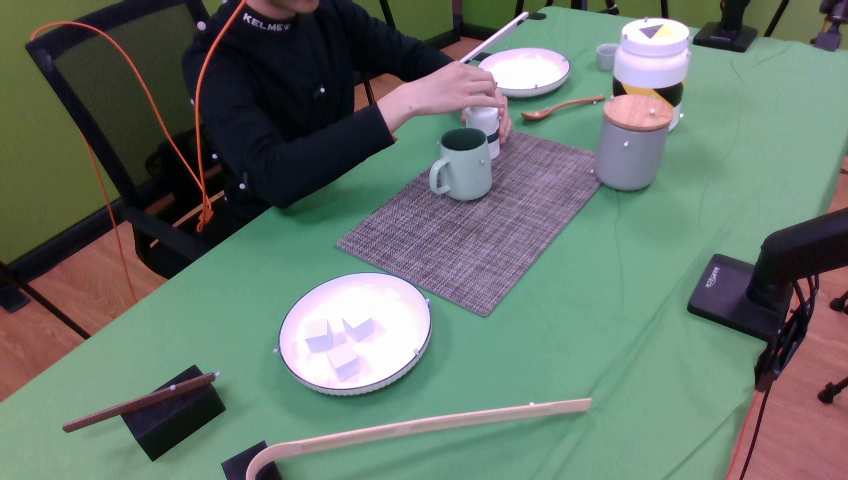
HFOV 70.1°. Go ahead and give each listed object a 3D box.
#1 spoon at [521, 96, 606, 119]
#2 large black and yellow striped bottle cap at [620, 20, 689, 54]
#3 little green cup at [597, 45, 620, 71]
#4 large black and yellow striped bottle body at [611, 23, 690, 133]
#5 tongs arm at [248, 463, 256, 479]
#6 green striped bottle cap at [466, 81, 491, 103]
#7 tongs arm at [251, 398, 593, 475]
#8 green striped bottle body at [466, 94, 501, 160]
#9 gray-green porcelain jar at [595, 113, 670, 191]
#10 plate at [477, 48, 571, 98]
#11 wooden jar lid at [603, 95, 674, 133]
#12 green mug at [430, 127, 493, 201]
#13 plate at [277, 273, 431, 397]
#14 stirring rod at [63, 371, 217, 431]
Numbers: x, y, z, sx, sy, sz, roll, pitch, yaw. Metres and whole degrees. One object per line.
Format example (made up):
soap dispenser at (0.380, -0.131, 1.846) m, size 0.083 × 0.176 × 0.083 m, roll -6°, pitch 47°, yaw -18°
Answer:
spoon at (0.291, -0.277, 1.249) m, size 0.194 × 0.022 × 0.041 m, roll -18°, pitch 23°, yaw -11°
large black and yellow striped bottle cap at (0.411, -0.363, 1.080) m, size 0.115 × 0.019 × 0.114 m, roll -3°, pitch 42°, yaw 4°
little green cup at (0.423, -0.413, 1.376) m, size 0.061 × 0.039 × 0.061 m, roll -4°, pitch 41°, yaw 4°
large black and yellow striped bottle body at (0.420, -0.299, 1.132) m, size 0.131 × 0.185 × 0.130 m, roll -5°, pitch 40°, yaw 4°
tongs arm at (0.012, 0.262, 0.615) m, size 0.385 × 0.026 × 0.050 m, roll 2°, pitch 41°, yaw -2°
green striped bottle cap at (0.096, -0.261, 1.065) m, size 0.044 × 0.020 × 0.044 m, roll 6°, pitch 45°, yaw -6°
tongs arm at (0.008, 0.212, 0.675) m, size 0.389 × 0.028 × 0.028 m, roll -5°, pitch 46°, yaw -11°
green striped bottle body at (0.110, -0.212, 1.119) m, size 0.063 × 0.120 × 0.063 m, roll -4°, pitch 41°, yaw 4°
gray-green porcelain jar at (0.347, -0.155, 1.017) m, size 0.106 × 0.127 × 0.105 m, roll -2°, pitch 44°, yaw 2°
plate at (0.223, -0.371, 1.357) m, size 0.209 × 0.038 × 0.208 m, roll -4°, pitch 41°, yaw 4°
wooden jar lid at (0.343, -0.200, 0.974) m, size 0.108 × 0.021 × 0.108 m, roll -2°, pitch 39°, yaw 2°
green mug at (0.059, -0.122, 1.034) m, size 0.126 × 0.105 × 0.091 m, roll -34°, pitch 48°, yaw -28°
plate at (-0.091, 0.129, 0.821) m, size 0.207 × 0.039 × 0.206 m, roll -4°, pitch 40°, yaw 4°
stirring rod at (-0.337, 0.192, 0.723) m, size 0.177 × 0.014 × 0.005 m, roll -18°, pitch 43°, yaw -12°
